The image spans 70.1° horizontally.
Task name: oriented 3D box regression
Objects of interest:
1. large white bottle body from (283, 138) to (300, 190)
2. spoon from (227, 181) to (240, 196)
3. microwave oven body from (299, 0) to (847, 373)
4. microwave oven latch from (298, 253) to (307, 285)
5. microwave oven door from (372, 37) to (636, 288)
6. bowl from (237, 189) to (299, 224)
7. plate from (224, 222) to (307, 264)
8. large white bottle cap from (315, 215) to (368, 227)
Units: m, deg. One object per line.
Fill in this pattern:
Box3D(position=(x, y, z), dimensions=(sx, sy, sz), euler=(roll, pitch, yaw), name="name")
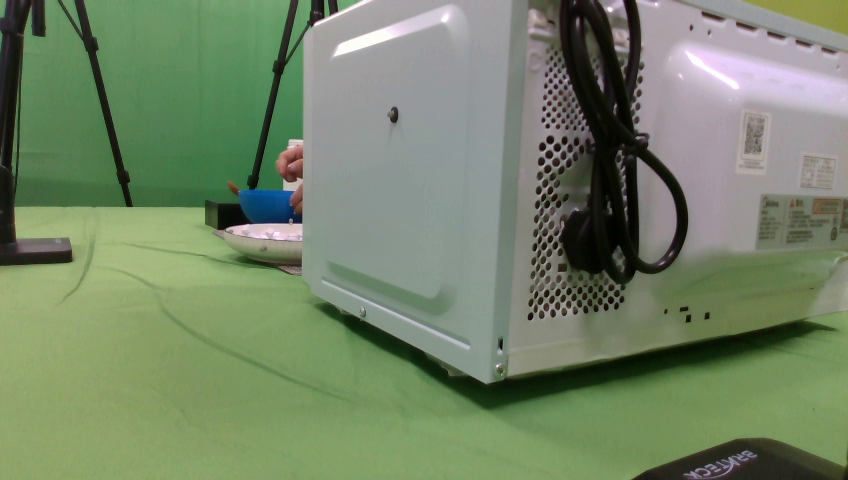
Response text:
Box3D(position=(-0.265, -0.144, 1.423), dimensions=(0.131, 0.184, 0.130), euler=(2, 7, 0), name="large white bottle body")
Box3D(position=(-0.315, -0.074, 1.235), dimensions=(0.195, 0.021, 0.041), euler=(24, -10, -37), name="spoon")
Box3D(position=(0.151, -0.055, 0.542), dimensions=(0.444, 0.260, 0.324), euler=(-2, 7, -33), name="microwave oven body")
Box3D(position=(-0.081, 0.027, 0.582), dimensions=(0.079, 0.029, 0.030), euler=(-1, 7, -32), name="microwave oven latch")
Box3D(position=(0.110, -0.080, 0.686), dimensions=(0.358, 0.243, 0.039), euler=(-2, 9, -33), name="microwave oven door")
Box3D(position=(-0.247, -0.046, 1.055), dimensions=(0.151, 0.077, 0.151), euler=(3, 8, 0), name="bowl")
Box3D(position=(-0.171, 0.004, 0.849), dimensions=(0.209, 0.038, 0.209), euler=(2, 7, 0), name="plate")
Box3D(position=(-0.178, -0.041, 1.308), dimensions=(0.115, 0.018, 0.115), euler=(2, 6, 0), name="large white bottle cap")
